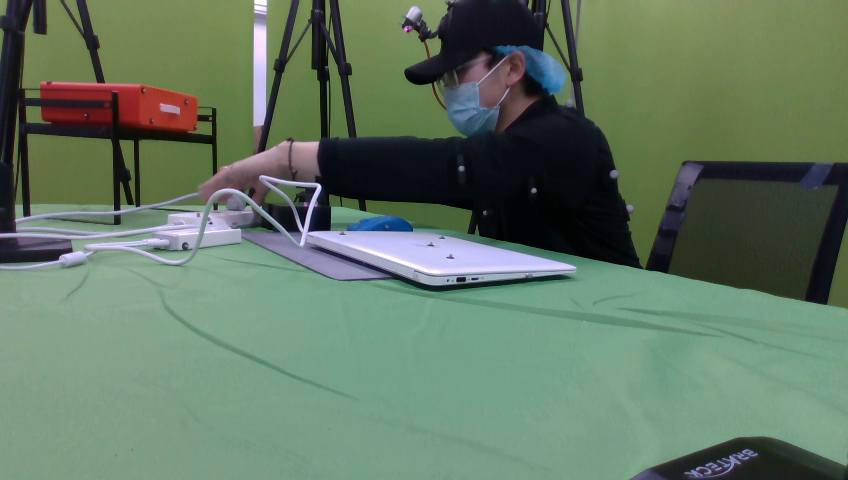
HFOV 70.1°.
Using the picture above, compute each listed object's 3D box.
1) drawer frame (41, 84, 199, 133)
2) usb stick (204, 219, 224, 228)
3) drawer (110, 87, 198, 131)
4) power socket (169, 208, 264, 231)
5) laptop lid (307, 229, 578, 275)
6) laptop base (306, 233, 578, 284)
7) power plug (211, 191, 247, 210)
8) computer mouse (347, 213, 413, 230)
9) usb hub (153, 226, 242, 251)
[{"bbox_3d":[-0.604,-0.264,1.225,0.213,0.082,0.202,3,8,8],"label":"drawer frame"},{"bbox_3d":[-0.346,-0.019,1.011,0.021,0.027,0.059,-42,1,-6],"label":"usb stick"},{"bbox_3d":[-0.601,-0.263,1.225,0.211,0.073,0.195,3,8,10],"label":"drawer"},{"bbox_3d":[-0.381,-0.038,1.128,0.072,0.032,0.227,4,8,17],"label":"power socket"},{"bbox_3d":[0.009,0.010,0.849,0.243,0.013,0.355,0,8,-32],"label":"laptop lid"},{"bbox_3d":[0.007,0.022,0.850,0.237,0.023,0.352,1,7,-34],"label":"laptop base"},{"bbox_3d":[-0.386,-0.070,1.205,0.072,0.052,0.035,8,10,27],"label":"power plug"},{"bbox_3d":[-0.079,-0.025,1.080,0.117,0.041,0.062,-5,12,-18],"label":"computer mouse"},{"bbox_3d":[-0.337,-0.003,0.907,0.049,0.025,0.125,6,9,28],"label":"usb hub"}]
